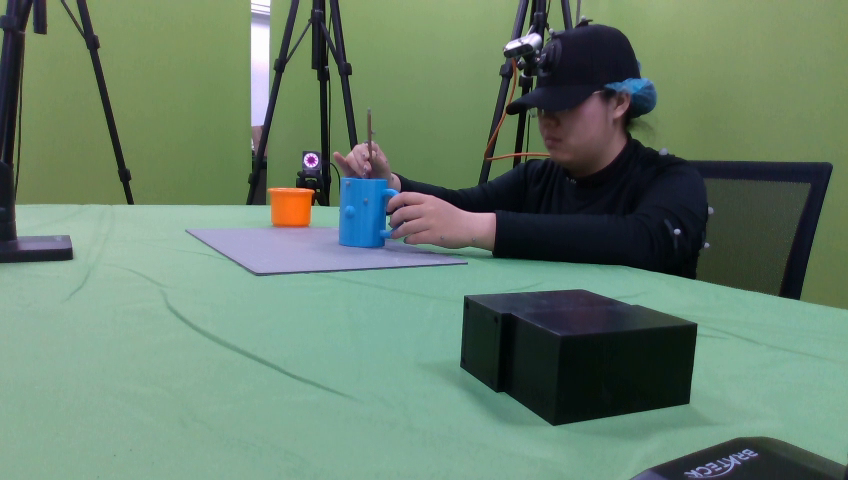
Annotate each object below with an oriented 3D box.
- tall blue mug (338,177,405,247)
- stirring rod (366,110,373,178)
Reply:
[{"bbox_3d":[-0.083,-0.046,0.977,0.107,0.108,0.078,3,6,-1],"label":"tall blue mug"},{"bbox_3d":[-0.088,-0.121,0.981,0.006,0.176,0.014,-3,7,-19],"label":"stirring rod"}]
